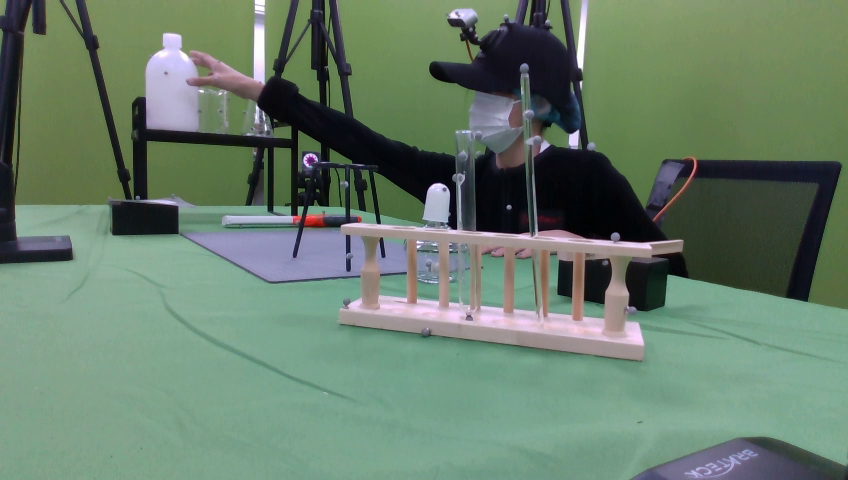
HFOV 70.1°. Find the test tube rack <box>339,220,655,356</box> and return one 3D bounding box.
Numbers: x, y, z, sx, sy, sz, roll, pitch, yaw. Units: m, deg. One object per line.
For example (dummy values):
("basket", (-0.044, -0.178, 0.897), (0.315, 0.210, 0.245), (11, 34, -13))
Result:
("test tube rack", (0.056, 0.032, 0.495), (0.242, 0.085, 0.067), (4, 7, 15))

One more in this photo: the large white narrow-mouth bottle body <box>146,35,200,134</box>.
("large white narrow-mouth bottle body", (-0.515, -0.319, 1.244), (0.102, 0.194, 0.102), (2, 7, 0))

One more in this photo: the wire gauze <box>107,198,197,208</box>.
("wire gauze", (-0.462, -0.064, 1.023), (0.126, 0.011, 0.121), (-2, 7, -32))

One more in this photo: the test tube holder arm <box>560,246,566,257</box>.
("test tube holder arm", (0.173, 0.008, 0.612), (0.088, 0.015, 0.010), (-3, 8, -30))

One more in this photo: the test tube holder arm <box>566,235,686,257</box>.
("test tube holder arm", (0.215, 0.006, 0.630), (0.179, 0.015, 0.013), (-3, 8, -31))

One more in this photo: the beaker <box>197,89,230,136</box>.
("beaker", (-0.472, -0.283, 1.353), (0.074, 0.100, 0.083), (-4, 10, -35))

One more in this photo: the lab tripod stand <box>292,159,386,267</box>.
("lab tripod stand", (-0.105, -0.039, 0.798), (0.148, 0.131, 0.148), (2, 5, 0))

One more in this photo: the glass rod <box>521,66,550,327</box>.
("glass rod", (0.085, -0.028, 0.455), (0.008, 0.199, 0.008), (-7, 10, 2))

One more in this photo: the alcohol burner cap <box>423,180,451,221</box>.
("alcohol burner cap", (0.017, -0.046, 0.711), (0.034, 0.048, 0.034), (8, 5, 0))

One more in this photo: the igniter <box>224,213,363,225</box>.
("igniter", (-0.255, -0.041, 1.210), (0.278, 0.025, 0.057), (-2, -2, -31))

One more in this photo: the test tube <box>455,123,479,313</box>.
("test tube", (0.034, -0.016, 0.476), (0.017, 0.150, 0.017), (-2, 10, 1))

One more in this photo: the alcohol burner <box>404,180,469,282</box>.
("alcohol burner", (0.015, -0.011, 0.715), (0.078, 0.119, 0.078), (0, 7, 0))

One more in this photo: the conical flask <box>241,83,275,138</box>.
("conical flask", (-0.383, -0.297, 1.392), (0.075, 0.122, 0.075), (2, 7, 0))

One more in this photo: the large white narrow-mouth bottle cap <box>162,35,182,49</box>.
("large white narrow-mouth bottle cap", (-0.514, -0.403, 1.233), (0.038, 0.024, 0.037), (2, 7, 0))
